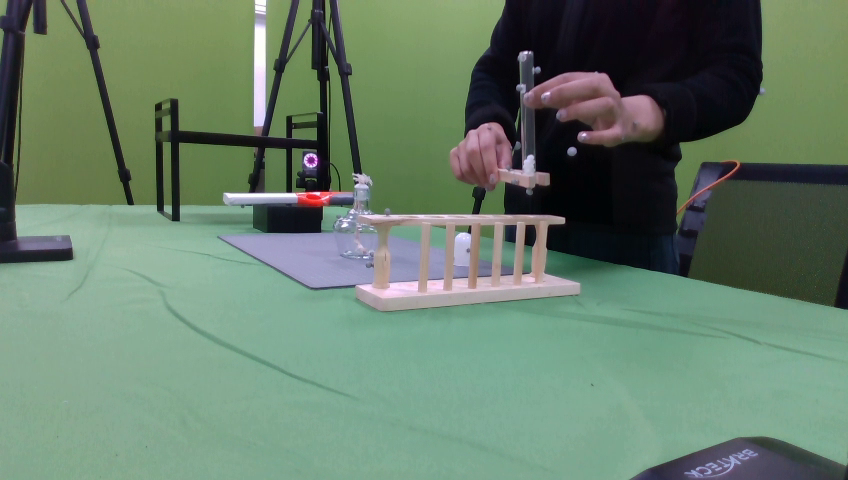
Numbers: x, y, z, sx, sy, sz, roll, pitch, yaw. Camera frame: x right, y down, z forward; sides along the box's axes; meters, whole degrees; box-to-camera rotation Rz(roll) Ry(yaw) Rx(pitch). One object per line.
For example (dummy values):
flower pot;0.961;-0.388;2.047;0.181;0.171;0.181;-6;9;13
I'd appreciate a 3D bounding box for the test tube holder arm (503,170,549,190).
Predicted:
test tube holder arm;0.113;-0.071;0.709;0.010;0.015;0.087;0;12;-34

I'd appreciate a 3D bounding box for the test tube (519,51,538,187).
test tube;0.116;-0.132;0.672;0.017;0.150;0.017;-4;8;1

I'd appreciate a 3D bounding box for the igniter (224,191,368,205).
igniter;-0.237;-0.079;1.157;0.278;0.025;0.057;-2;21;-31

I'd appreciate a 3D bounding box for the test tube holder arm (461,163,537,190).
test tube holder arm;0.088;-0.081;0.745;0.013;0.015;0.177;3;11;-25

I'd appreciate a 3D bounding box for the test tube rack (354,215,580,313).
test tube rack;0.053;0.019;0.635;0.243;0.085;0.066;-1;8;-29

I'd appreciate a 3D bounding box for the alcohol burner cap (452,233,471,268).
alcohol burner cap;0.053;0.014;0.823;0.034;0.048;0.034;2;6;0

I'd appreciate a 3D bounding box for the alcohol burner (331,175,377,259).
alcohol burner;-0.091;-0.033;0.855;0.078;0.119;0.078;4;7;0
